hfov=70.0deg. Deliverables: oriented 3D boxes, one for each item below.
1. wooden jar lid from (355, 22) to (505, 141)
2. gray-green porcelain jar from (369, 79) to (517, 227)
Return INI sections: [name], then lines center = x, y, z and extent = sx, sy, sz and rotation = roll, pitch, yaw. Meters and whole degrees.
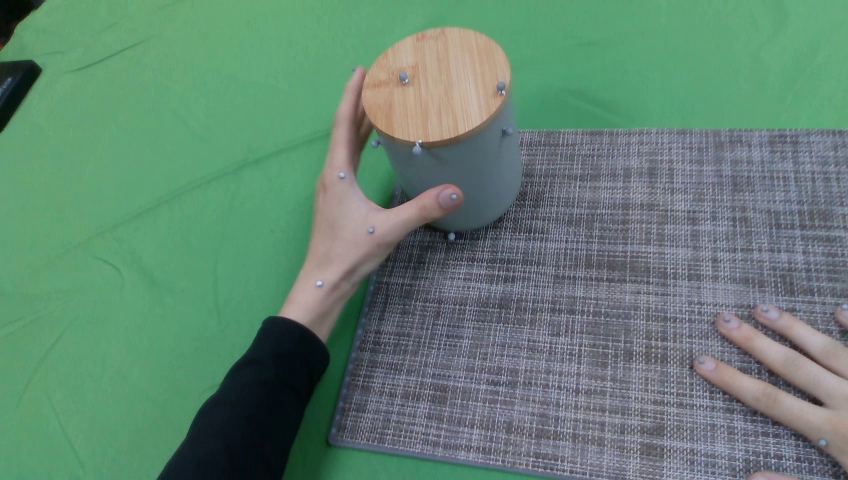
[wooden jar lid]
center = 0.005, -0.112, 0.437
extent = 0.108, 0.021, 0.107
rotation = -5, 62, 9
[gray-green porcelain jar]
center = 0.019, -0.080, 0.489
extent = 0.105, 0.128, 0.105
rotation = -6, 58, 10
